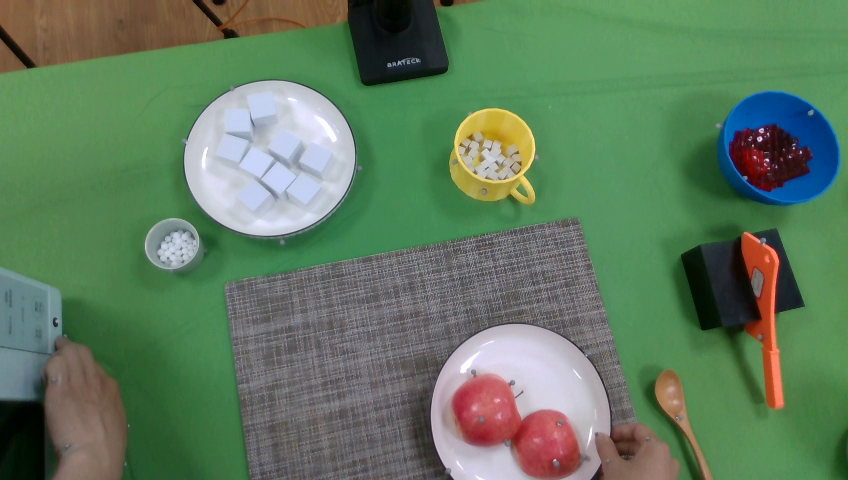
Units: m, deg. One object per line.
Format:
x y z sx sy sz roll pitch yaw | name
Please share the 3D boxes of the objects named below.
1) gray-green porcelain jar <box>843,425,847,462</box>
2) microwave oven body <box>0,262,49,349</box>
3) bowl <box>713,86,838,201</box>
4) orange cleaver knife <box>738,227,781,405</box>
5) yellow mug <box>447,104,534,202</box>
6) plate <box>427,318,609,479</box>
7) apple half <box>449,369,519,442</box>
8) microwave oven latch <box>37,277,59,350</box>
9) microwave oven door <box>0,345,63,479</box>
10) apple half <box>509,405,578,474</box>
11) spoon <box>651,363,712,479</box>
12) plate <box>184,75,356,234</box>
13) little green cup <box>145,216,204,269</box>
0.553 0.238 0.676 0.106 0.127 0.105 1 75 -3 | gray-green porcelain jar
-0.539 0.246 0.524 0.326 0.261 0.439 -8 77 -6 | microwave oven body
0.435 -0.113 0.781 0.151 0.077 0.150 1 76 -3 | bowl
0.400 0.091 0.725 0.012 0.077 0.212 -10 100 -2 | orange cleaver knife
0.092 -0.100 0.760 0.100 0.064 0.130 -40 82 -12 | yellow mug
0.105 0.195 0.697 0.209 0.038 0.208 1 76 -4 | plate
0.068 0.187 0.681 0.075 0.053 0.080 -14 77 -4 | apple half
-0.425 0.082 0.673 0.030 0.029 0.078 -7 77 -6 | microwave oven latch
-0.388 0.267 0.525 0.039 0.244 0.354 -8 76 -6 | microwave oven door
0.137 0.227 0.685 0.081 0.033 0.081 1 72 -2 | apple half
0.313 0.240 0.713 0.042 0.021 0.192 -14 76 -28 | spoon
-0.188 -0.105 0.756 0.208 0.039 0.206 1 76 -4 | plate
-0.293 0.005 0.719 0.061 0.039 0.061 1 76 -5 | little green cup
